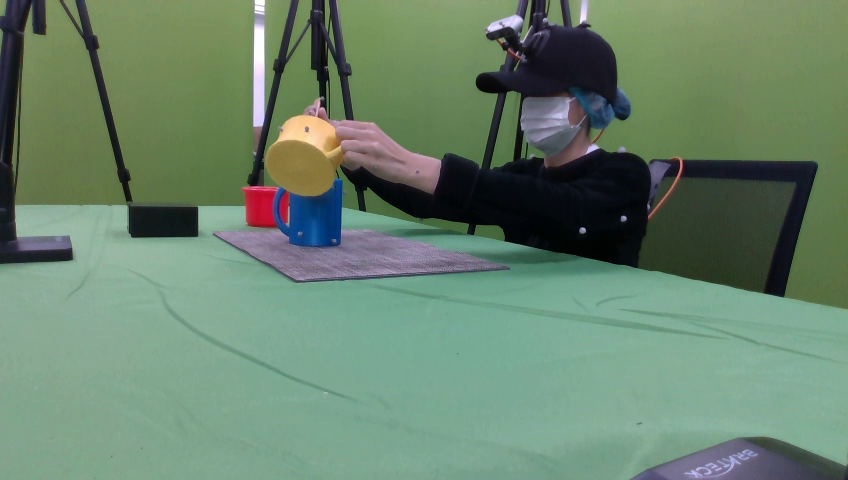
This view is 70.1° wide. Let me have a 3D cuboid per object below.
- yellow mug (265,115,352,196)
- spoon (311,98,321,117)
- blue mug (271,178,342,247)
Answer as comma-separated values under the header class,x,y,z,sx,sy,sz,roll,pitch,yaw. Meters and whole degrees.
class,x,y,z,sx,sy,sz,roll,pitch,yaw
yellow mug,-0.158,-0.126,0.871,0.130,0.100,0.064,-15,39,25
spoon,-0.182,-0.181,0.956,0.041,0.022,0.193,-33,26,21
blue mug,-0.190,-0.047,0.963,0.116,0.106,0.082,5,7,13
